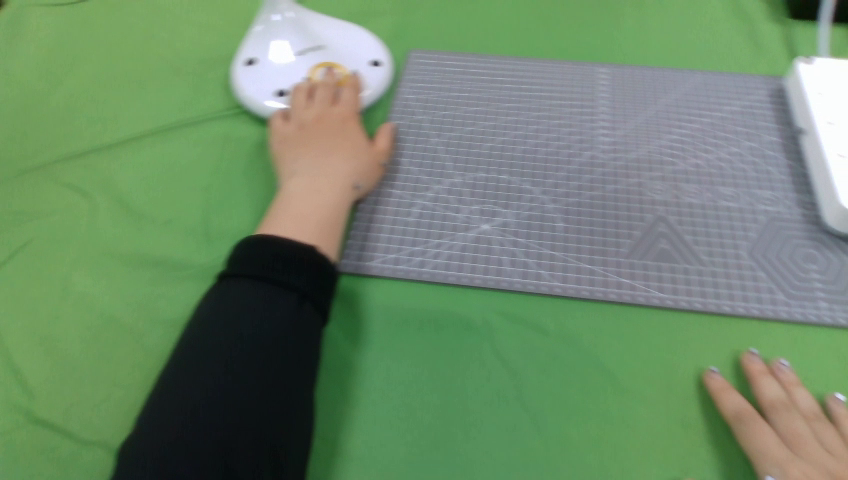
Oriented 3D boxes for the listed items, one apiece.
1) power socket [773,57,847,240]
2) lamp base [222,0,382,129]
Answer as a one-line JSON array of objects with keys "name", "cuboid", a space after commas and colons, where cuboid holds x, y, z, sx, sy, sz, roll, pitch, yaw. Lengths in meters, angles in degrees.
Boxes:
[{"name": "power socket", "cuboid": [0.362, -0.087, 0.528, 0.072, 0.033, 0.225, 8, 51, 6]}, {"name": "lamp base", "cuboid": [-0.133, -0.223, 0.560, 0.160, 0.182, 0.177, -35, 55, -25]}]
